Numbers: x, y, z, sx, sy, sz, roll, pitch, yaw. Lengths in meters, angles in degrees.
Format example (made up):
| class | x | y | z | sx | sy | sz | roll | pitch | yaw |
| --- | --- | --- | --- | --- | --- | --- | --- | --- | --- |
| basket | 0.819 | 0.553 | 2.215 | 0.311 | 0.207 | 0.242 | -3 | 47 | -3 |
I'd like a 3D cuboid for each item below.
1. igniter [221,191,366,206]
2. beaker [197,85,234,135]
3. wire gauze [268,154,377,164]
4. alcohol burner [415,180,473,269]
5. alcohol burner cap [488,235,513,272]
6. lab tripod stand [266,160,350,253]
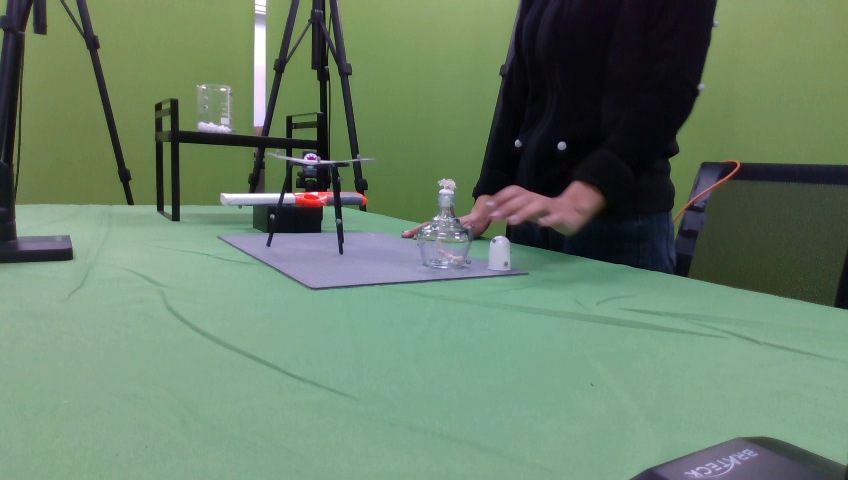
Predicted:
| class | x | y | z | sx | sy | sz | roll | pitch | yaw |
| --- | --- | --- | --- | --- | --- | --- | --- | --- | --- |
| igniter | -0.240 | -0.079 | 1.150 | 0.278 | 0.025 | 0.057 | -3 | 20 | -32 |
| beaker | -0.444 | -0.275 | 1.283 | 0.074 | 0.100 | 0.084 | 5 | 8 | 22 |
| wire gauze | -0.154 | -0.120 | 0.910 | 0.122 | 0.011 | 0.124 | -5 | 11 | -44 |
| alcohol burner | 0.028 | -0.021 | 0.807 | 0.078 | 0.119 | 0.078 | 3 | 5 | 0 |
| alcohol burner cap | 0.102 | 0.018 | 0.802 | 0.034 | 0.048 | 0.034 | 0 | 8 | 0 |
| lab tripod stand | -0.163 | -0.054 | 0.915 | 0.148 | 0.131 | 0.148 | 2 | 9 | 0 |
